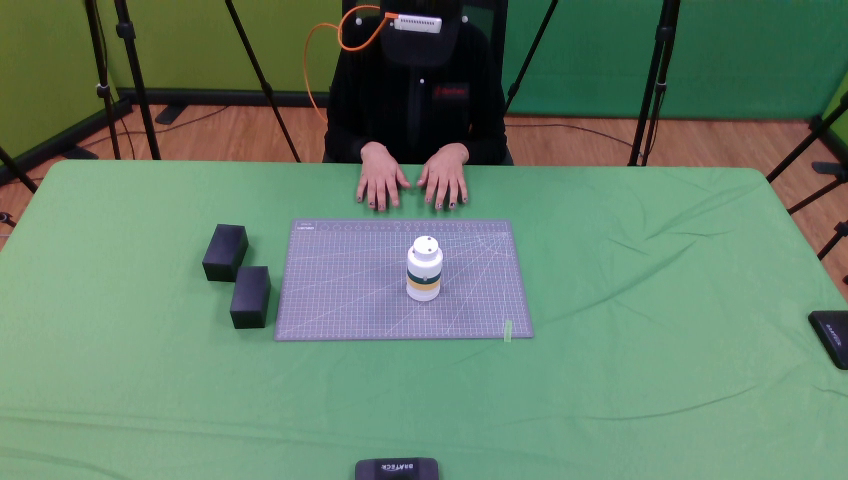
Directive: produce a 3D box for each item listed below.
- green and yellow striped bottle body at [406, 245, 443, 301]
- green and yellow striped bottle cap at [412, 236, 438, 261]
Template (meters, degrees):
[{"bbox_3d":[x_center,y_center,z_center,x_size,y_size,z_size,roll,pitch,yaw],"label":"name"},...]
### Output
[{"bbox_3d":[0.001,0.049,1.077,0.063,0.120,0.063,2,46,-2],"label":"green and yellow striped bottle body"},{"bbox_3d":[0.002,0.013,1.040,0.045,0.020,0.045,3,45,-3],"label":"green and yellow striped bottle cap"}]
